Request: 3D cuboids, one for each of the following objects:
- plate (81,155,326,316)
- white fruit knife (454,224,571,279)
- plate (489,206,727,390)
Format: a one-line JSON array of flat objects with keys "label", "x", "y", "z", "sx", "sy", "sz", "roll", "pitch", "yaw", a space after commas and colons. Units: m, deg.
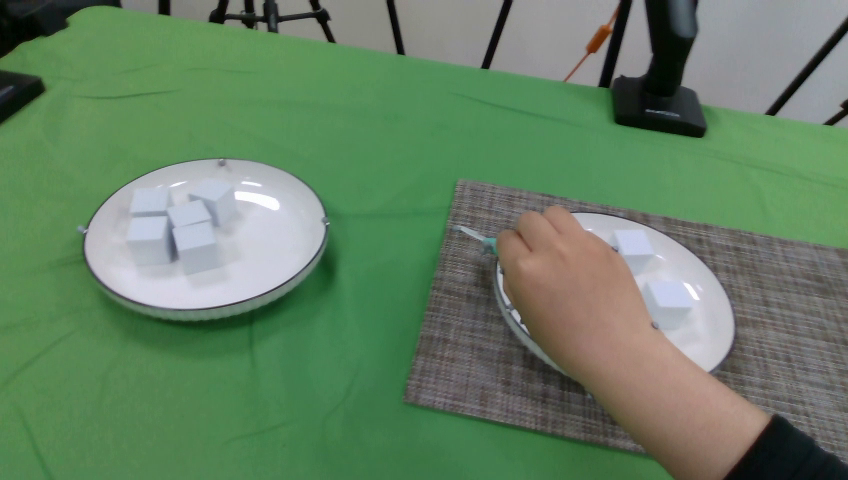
[{"label": "plate", "x": -0.195, "y": -0.005, "z": 0.559, "sx": 0.209, "sy": 0.038, "sz": 0.207, "roll": 4, "pitch": 42, "yaw": -4}, {"label": "white fruit knife", "x": 0.058, "y": 0.002, "z": 0.488, "sx": 0.027, "sy": 0.016, "sz": 0.206, "roll": 17, "pitch": 4, "yaw": -17}, {"label": "plate", "x": 0.159, "y": 0.050, "z": 0.544, "sx": 0.208, "sy": 0.039, "sz": 0.205, "roll": 4, "pitch": 43, "yaw": -3}]
